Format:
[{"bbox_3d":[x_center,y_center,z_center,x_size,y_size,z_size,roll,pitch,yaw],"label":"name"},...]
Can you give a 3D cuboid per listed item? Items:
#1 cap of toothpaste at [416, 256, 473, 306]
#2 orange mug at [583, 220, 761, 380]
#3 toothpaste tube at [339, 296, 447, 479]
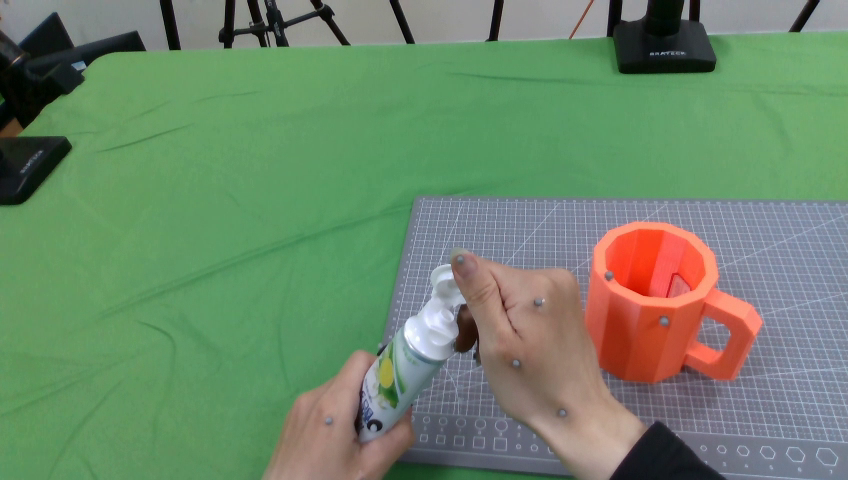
[{"bbox_3d":[0.011,0.025,0.370,0.037,0.038,0.011,5,40,13],"label":"cap of toothpaste"},{"bbox_3d":[0.184,0.054,0.465,0.125,0.102,0.083,25,53,34],"label":"orange mug"},{"bbox_3d":[-0.027,0.101,0.406,0.035,0.166,0.054,13,34,-23],"label":"toothpaste tube"}]
